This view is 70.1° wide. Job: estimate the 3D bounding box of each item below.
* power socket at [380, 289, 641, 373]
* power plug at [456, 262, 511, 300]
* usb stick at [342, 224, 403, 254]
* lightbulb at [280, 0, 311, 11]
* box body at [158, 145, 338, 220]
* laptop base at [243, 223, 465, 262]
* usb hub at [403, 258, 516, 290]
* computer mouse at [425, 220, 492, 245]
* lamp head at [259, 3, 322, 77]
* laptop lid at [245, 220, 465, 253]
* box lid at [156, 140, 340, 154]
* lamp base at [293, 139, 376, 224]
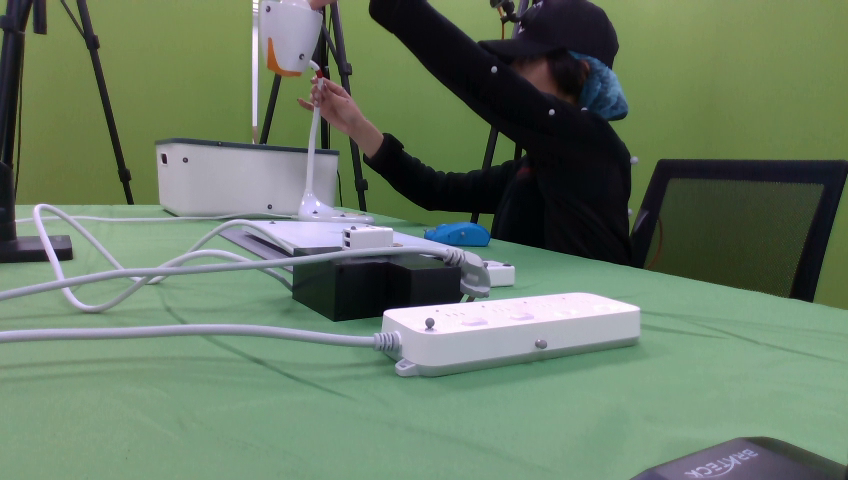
[{"bbox_3d":[0.072,0.064,0.461,0.228,0.032,0.072,-2,8,-30],"label":"power socket"},{"bbox_3d":[0.052,0.050,0.543,0.035,0.052,0.072,6,38,-20],"label":"power plug"},{"bbox_3d":[-0.047,-0.001,0.567,0.059,0.027,0.021,0,5,-32],"label":"usb stick"},{"bbox_3d":[-0.239,-0.384,1.094,0.059,0.107,0.059,15,12,-3],"label":"lightbulb"},{"bbox_3d":[-0.410,-0.139,1.414,0.366,0.160,0.253,-3,8,-33],"label":"box body"},{"bbox_3d":[-0.126,0.003,0.946,0.237,0.023,0.352,2,6,-31],"label":"laptop base"},{"bbox_3d":[0.042,0.038,0.690,0.126,0.025,0.049,-2,10,-30],"label":"usb hub"},{"bbox_3d":[0.060,-0.013,1.060,0.117,0.041,0.062,-2,10,-6],"label":"computer mouse"},{"bbox_3d":[-0.246,-0.360,1.106,0.112,0.123,0.112,7,15,-2],"label":"lamp head"},{"bbox_3d":[-0.124,-0.009,0.945,0.243,0.013,0.355,1,7,-29],"label":"laptop lid"},{"bbox_3d":[-0.409,-0.213,1.404,0.373,0.015,0.262,-2,8,-32],"label":"box lid"},{"bbox_3d":[-0.191,-0.121,1.257,0.179,0.180,0.161,0,6,7],"label":"lamp base"}]
